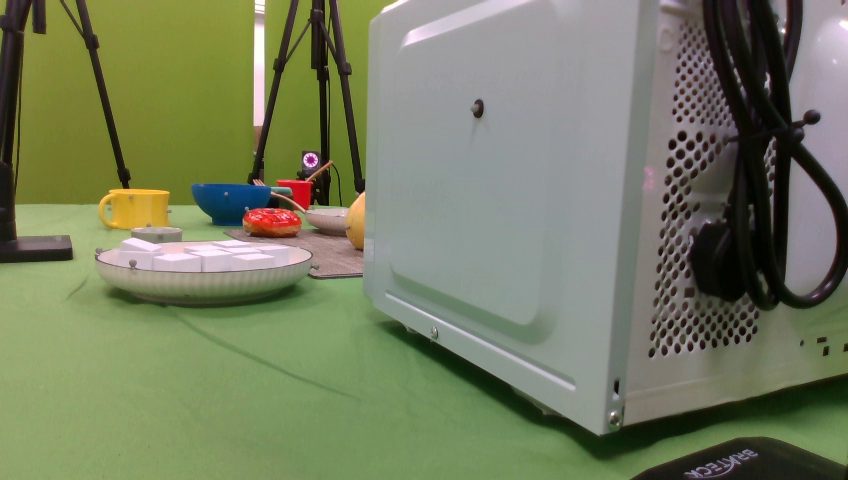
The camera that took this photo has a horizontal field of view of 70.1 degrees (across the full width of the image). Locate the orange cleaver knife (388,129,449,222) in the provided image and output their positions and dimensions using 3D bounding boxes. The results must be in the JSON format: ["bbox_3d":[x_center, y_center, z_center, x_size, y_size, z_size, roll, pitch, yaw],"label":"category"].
[{"bbox_3d":[-0.005,-0.075,0.881,0.012,0.077,0.212,8,-30,26],"label":"orange cleaver knife"}]

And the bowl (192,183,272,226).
[{"bbox_3d":[-0.381,-0.070,1.202,0.151,0.077,0.151,3,7,0],"label":"bowl"}]

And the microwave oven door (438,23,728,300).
[{"bbox_3d":[0.181,-0.072,0.621,0.358,0.243,0.039,-2,8,-29],"label":"microwave oven door"}]

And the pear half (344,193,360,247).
[{"bbox_3d":[-0.104,-0.033,0.929,0.031,0.088,0.070,5,13,18],"label":"pear half"}]

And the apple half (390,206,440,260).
[{"bbox_3d":[-0.006,-0.009,0.838,0.053,0.074,0.081,10,5,25],"label":"apple half"}]

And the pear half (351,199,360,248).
[{"bbox_3d":[-0.071,-0.040,0.915,0.056,0.110,0.076,4,12,18],"label":"pear half"}]

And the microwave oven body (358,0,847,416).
[{"bbox_3d":[0.211,-0.047,0.475,0.444,0.260,0.324,-1,7,-28],"label":"microwave oven body"}]

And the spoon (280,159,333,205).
[{"bbox_3d":[-0.316,-0.158,1.639,0.194,0.022,0.041,-49,32,-20],"label":"spoon"}]

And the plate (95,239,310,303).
[{"bbox_3d":[-0.224,0.031,0.629,0.208,0.039,0.207,2,7,0],"label":"plate"}]

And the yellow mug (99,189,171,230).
[{"bbox_3d":[-0.519,-0.055,1.080,0.099,0.064,0.131,7,10,26],"label":"yellow mug"}]

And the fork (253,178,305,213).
[{"bbox_3d":[-0.294,-0.084,1.293,0.206,0.018,0.028,29,12,26],"label":"fork"}]

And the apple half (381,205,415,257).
[{"bbox_3d":[-0.042,-0.014,0.854,0.032,0.081,0.081,9,10,24],"label":"apple half"}]

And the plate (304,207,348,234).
[{"bbox_3d":[-0.123,-0.037,1.149,0.209,0.038,0.209,2,7,0],"label":"plate"}]

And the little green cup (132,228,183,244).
[{"bbox_3d":[-0.342,0.006,0.779,0.061,0.038,0.061,2,8,0],"label":"little green cup"}]

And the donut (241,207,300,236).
[{"bbox_3d":[-0.263,-0.031,1.039,0.099,0.048,0.099,4,10,0],"label":"donut"}]

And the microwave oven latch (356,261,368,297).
[{"bbox_3d":[-0.020,0.033,0.531,0.079,0.029,0.030,-1,7,-27],"label":"microwave oven latch"}]

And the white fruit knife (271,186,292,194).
[{"bbox_3d":[-0.399,-0.111,1.368,0.208,0.016,0.027,-4,-20,-29],"label":"white fruit knife"}]
